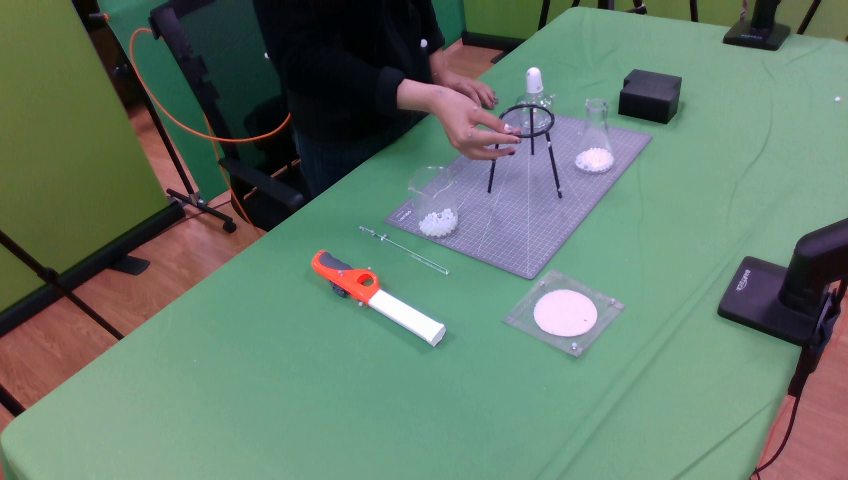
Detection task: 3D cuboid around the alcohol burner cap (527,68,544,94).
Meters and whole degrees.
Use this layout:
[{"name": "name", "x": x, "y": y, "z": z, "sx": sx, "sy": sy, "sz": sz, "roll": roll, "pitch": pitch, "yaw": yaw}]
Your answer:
[{"name": "alcohol burner cap", "x": 0.216, "y": -0.312, "z": 1.179, "sx": 0.034, "sy": 0.048, "sz": 0.033, "roll": -9, "pitch": 40, "yaw": 8}]

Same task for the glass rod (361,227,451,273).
[{"name": "glass rod", "x": -0.033, "y": 0.014, "z": 0.985, "sx": 0.198, "sy": 0.008, "sz": 0.008, "roll": 25, "pitch": 52, "yaw": 34}]

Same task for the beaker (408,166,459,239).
[{"name": "beaker", "x": 0.018, "y": -0.057, "z": 0.984, "sx": 0.074, "sy": 0.101, "sz": 0.083, "roll": -6, "pitch": 41, "yaw": 5}]

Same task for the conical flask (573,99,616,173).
[{"name": "conical flask", "x": 0.302, "y": -0.184, "z": 1.061, "sx": 0.075, "sy": 0.122, "sz": 0.075, "roll": -5, "pitch": 40, "yaw": 5}]

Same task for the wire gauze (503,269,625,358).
[{"name": "wire gauze", "x": 0.194, "y": 0.100, "z": 0.840, "sx": 0.120, "sy": 0.011, "sz": 0.125, "roll": 27, "pitch": 54, "yaw": 36}]

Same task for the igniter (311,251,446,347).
[{"name": "igniter", "x": -0.078, "y": 0.081, "z": 0.899, "sx": 0.274, "sy": 0.025, "sz": 0.057, "roll": 27, "pitch": 62, "yaw": 35}]

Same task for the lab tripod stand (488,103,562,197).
[{"name": "lab tripod stand", "x": 0.170, "y": -0.150, "z": 1.002, "sx": 0.148, "sy": 0.132, "sz": 0.147, "roll": -6, "pitch": 45, "yaw": 7}]

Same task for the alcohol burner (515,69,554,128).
[{"name": "alcohol burner", "x": 0.221, "y": -0.285, "z": 1.203, "sx": 0.078, "sy": 0.119, "sz": 0.077, "roll": -4, "pitch": 39, "yaw": 4}]
